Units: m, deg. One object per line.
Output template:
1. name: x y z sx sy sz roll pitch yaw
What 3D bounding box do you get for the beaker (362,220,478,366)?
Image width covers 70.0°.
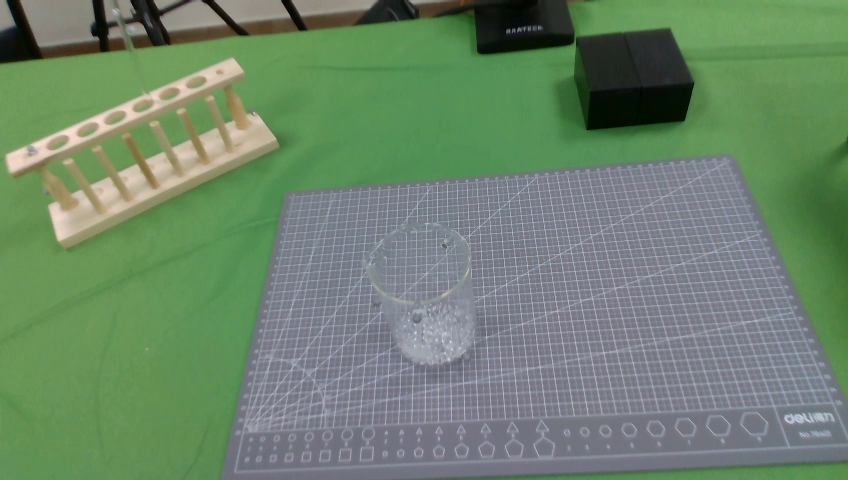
1. beaker: 0.001 0.045 0.464 0.084 0.101 0.073 4 51 13

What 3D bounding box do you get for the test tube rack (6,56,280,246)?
1. test tube rack: -0.286 -0.096 0.637 0.242 0.086 0.066 -29 53 -15

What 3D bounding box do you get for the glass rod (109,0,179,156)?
1. glass rod: -0.279 -0.162 0.604 0.008 0.201 0.008 -2 44 2
